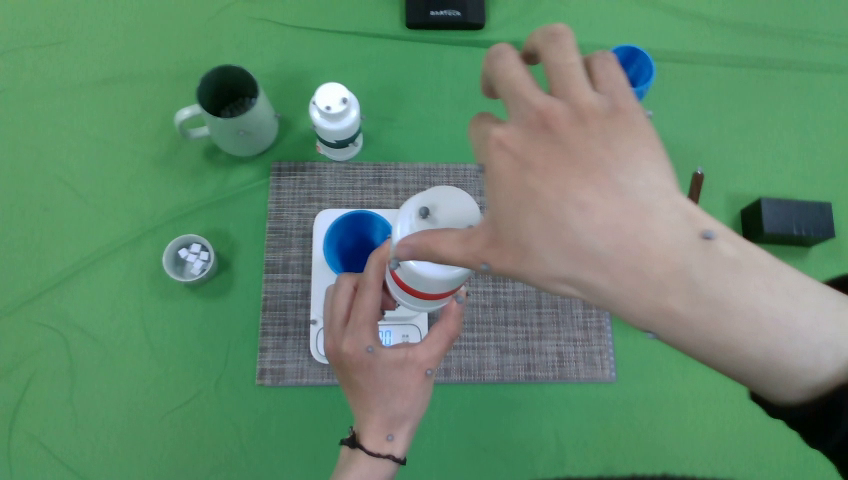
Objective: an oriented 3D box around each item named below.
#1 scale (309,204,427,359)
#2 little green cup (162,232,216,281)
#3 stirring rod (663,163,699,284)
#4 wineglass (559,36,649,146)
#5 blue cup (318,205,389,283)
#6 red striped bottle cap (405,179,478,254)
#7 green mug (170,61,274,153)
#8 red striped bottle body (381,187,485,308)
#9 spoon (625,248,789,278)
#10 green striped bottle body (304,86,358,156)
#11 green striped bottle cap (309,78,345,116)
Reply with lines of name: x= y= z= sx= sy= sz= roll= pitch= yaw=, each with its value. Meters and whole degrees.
scale: x=-0.073 y=0.050 z=0.781 sx=0.149 sy=0.032 sz=0.200 roll=-1 pitch=75 yaw=-3
little green cup: x=-0.297 y=0.024 z=0.774 sx=0.061 sy=0.039 sz=0.061 roll=1 pitch=74 yaw=-4
stirring rod: x=0.324 y=-0.016 z=0.766 sx=0.014 sy=0.177 sz=0.006 roll=4 pitch=33 yaw=11
wineglass: x=0.230 y=-0.189 z=0.794 sx=0.074 sy=0.173 sz=0.073 roll=1 pitch=74 yaw=-2
blue cup: x=-0.077 y=0.013 z=0.723 sx=0.093 sy=0.100 sz=0.092 roll=1 pitch=77 yaw=-3
red striped bottle cap: x=0.011 y=-0.015 z=0.368 sx=0.044 sy=0.018 sz=0.044 roll=2 pitch=74 yaw=-6
green mug: x=-0.266 y=-0.166 z=0.794 sx=0.125 sy=0.105 sz=0.092 roll=-22 pitch=77 yaw=-8
red striped bottle body: x=0.004 y=0.004 z=0.418 sx=0.063 sy=0.120 sz=0.062 roll=3 pitch=70 yaw=-7
spoon: x=0.344 y=0.034 z=0.754 sx=0.022 sy=0.192 sz=0.041 roll=22 pitch=78 yaw=-42
green striped bottle body: x=-0.121 y=-0.161 z=0.793 sx=0.063 sy=0.120 sz=0.063 roll=1 pitch=74 yaw=-3
green striped bottle cap: x=-0.119 y=-0.176 z=0.743 sx=0.044 sy=0.020 sz=0.044 roll=1 pitch=73 yaw=-3
